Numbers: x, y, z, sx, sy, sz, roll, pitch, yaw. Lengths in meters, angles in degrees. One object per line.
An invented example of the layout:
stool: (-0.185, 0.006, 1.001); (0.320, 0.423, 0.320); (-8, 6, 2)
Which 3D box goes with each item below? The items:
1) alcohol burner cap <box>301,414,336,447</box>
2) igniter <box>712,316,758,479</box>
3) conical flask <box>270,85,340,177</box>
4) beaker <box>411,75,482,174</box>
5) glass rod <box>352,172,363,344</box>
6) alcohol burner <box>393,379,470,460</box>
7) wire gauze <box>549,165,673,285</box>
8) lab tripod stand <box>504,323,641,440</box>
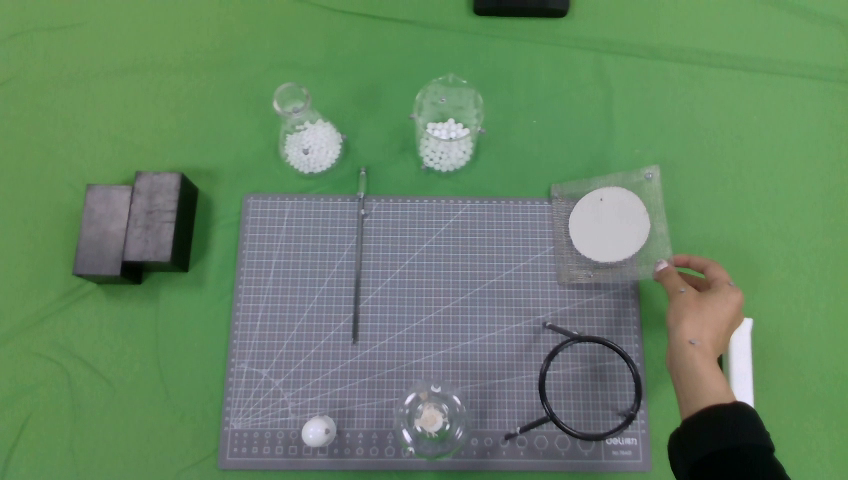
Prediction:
alcohol burner cap: (-0.109, 0.195, 0.618); (0.034, 0.048, 0.033); (0, 75, -1)
igniter: (0.325, 0.217, 0.630); (0.057, 0.025, 0.275); (7, 75, -10)
conical flask: (-0.136, -0.123, 0.661); (0.075, 0.122, 0.075); (0, 75, 0)
beaker: (0.023, -0.125, 0.676); (0.074, 0.101, 0.083); (3, 74, 0)
glass rod: (-0.075, 0.017, 0.681); (0.008, 0.008, 0.198); (0, 75, -1)
alcohol burner: (0.007, 0.175, 0.588); (0.078, 0.119, 0.077); (0, 77, 0)
wire gauze: (0.202, -0.014, 0.668); (0.124, 0.011, 0.121); (-8, 80, 26)
lab tripod stand: (0.141, 0.148, 0.587); (0.148, 0.132, 0.147); (0, 77, -1)
